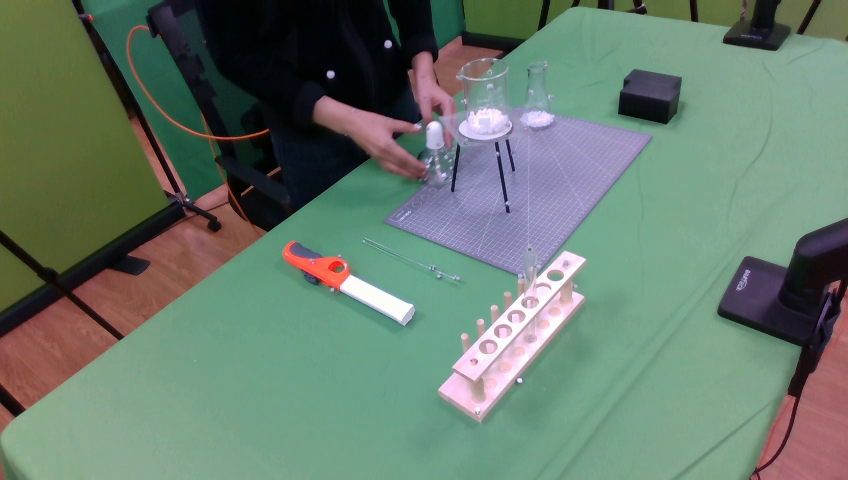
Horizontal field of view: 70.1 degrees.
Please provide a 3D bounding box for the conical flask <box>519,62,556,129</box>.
[{"bbox_3d":[0.225,-0.288,1.198,0.075,0.122,0.075,-6,40,5],"label":"conical flask"}]

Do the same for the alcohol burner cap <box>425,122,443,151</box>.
[{"bbox_3d":[0.017,-0.185,1.068,0.034,0.048,0.033,-2,45,3],"label":"alcohol burner cap"}]

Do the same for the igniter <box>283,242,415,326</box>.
[{"bbox_3d":[-0.126,0.062,0.931,0.274,0.025,0.057,24,61,33],"label":"igniter"}]

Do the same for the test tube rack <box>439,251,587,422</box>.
[{"bbox_3d":[0.118,0.111,0.780,0.066,0.085,0.243,26,51,35],"label":"test tube rack"}]

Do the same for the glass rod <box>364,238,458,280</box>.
[{"bbox_3d":[-0.026,0.029,0.966,0.198,0.008,0.008,21,49,35],"label":"glass rod"}]

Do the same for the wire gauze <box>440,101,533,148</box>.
[{"bbox_3d":[0.100,-0.189,0.995,0.125,0.011,0.120,-16,37,-6],"label":"wire gauze"}]

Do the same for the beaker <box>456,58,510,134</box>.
[{"bbox_3d":[0.098,-0.226,0.964,0.084,0.101,0.073,-7,39,4],"label":"beaker"}]

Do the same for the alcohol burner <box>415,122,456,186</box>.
[{"bbox_3d":[0.021,-0.158,1.092,0.078,0.119,0.077,-5,38,4],"label":"alcohol burner"}]

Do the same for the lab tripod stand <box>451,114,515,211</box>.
[{"bbox_3d":[0.113,-0.140,1.037,0.148,0.132,0.147,-6,38,5],"label":"lab tripod stand"}]

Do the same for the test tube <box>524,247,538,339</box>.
[{"bbox_3d":[0.133,0.070,0.749,0.017,0.151,0.017,-5,38,4],"label":"test tube"}]
